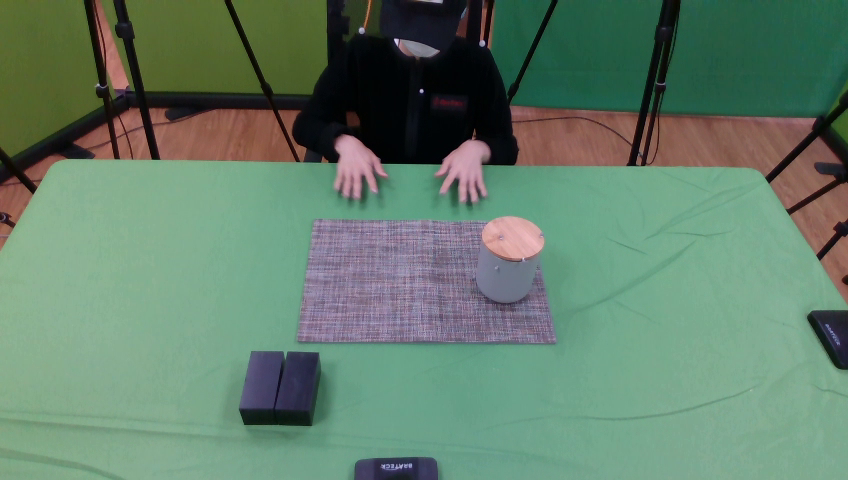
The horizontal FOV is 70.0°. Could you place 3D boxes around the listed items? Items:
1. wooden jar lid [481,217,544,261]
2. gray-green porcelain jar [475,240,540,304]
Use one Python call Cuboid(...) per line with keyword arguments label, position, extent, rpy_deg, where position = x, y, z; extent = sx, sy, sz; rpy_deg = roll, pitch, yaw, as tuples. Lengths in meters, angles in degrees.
Cuboid(label="wooden jar lid", position=(0.152, 0.001, 1.044), extent=(0.108, 0.021, 0.107), rpy_deg=(2, 43, -2))
Cuboid(label="gray-green porcelain jar", position=(0.148, 0.044, 1.090), extent=(0.106, 0.127, 0.105), rpy_deg=(2, 46, -2))
